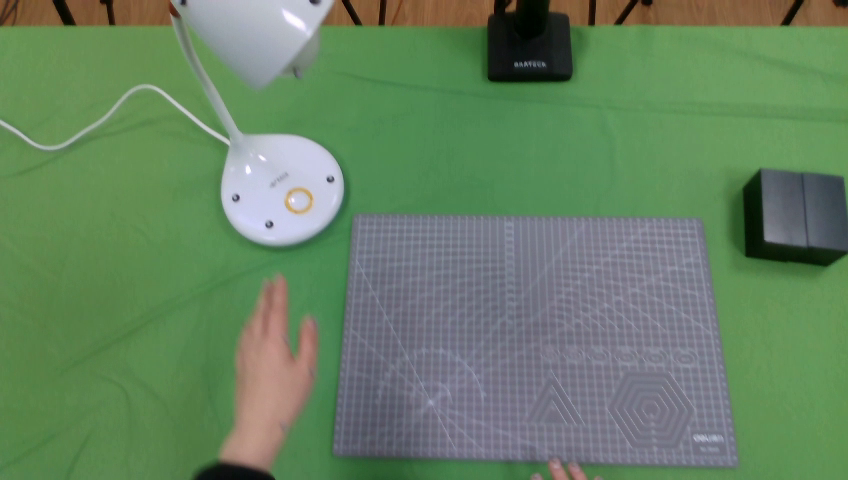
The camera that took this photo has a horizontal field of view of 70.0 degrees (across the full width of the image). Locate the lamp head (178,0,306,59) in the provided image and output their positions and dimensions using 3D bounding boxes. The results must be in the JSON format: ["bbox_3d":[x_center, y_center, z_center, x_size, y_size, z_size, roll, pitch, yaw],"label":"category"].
[{"bbox_3d":[-0.146,-0.205,0.429,0.124,0.112,0.112,24,69,-28],"label":"lamp head"}]

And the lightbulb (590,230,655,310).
[{"bbox_3d":[0.226,0.032,0.708,0.059,0.060,0.106,-18,55,-4],"label":"lightbulb"}]

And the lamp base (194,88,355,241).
[{"bbox_3d":[-0.183,-0.103,0.702,0.179,0.181,0.160,14,71,10],"label":"lamp base"}]
